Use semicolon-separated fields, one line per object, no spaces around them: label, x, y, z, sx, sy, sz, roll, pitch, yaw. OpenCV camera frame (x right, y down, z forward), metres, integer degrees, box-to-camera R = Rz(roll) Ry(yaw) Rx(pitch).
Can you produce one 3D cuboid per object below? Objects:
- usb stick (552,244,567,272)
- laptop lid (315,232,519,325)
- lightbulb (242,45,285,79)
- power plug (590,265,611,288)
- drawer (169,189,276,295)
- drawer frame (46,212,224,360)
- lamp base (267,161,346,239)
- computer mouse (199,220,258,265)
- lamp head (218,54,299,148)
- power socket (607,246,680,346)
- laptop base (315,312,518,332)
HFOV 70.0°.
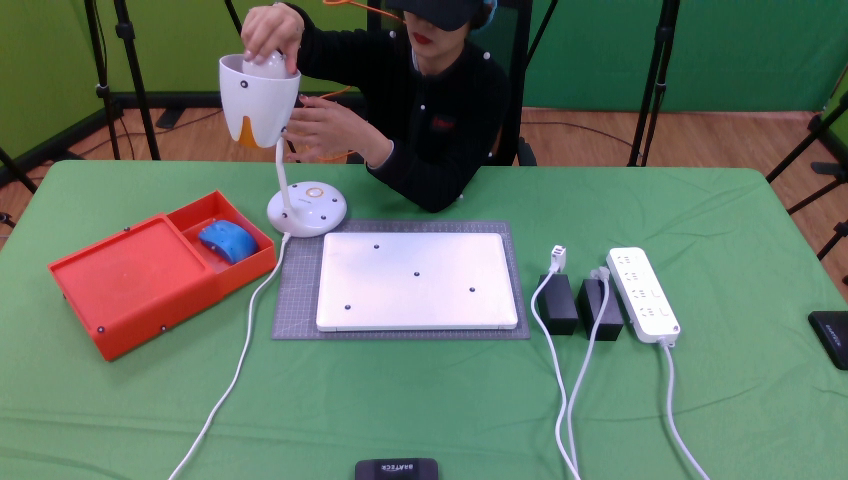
usb stick;0.251;0.039;1.123;0.021;0.059;0.027;14;47;24
laptop lid;-0.015;0.065;1.118;0.357;0.013;0.240;1;43;-3
lightbulb;-0.234;-0.223;0.867;0.059;0.108;0.059;14;25;-7
power plug;0.318;0.073;1.108;0.035;0.053;0.072;26;33;13
drawer;-0.413;0.022;1.108;0.212;0.073;0.193;-33;57;-30
drawer frame;-0.495;0.071;1.050;0.213;0.083;0.200;-32;56;-29
lamp base;-0.241;-0.110;1.174;0.160;0.181;0.178;11;49;9
computer mouse;-0.374;-0.001;1.153;0.116;0.041;0.063;30;52;28
lamp head;-0.244;-0.200;0.888;0.112;0.123;0.112;10;34;-7
power socket;0.403;0.096;1.123;0.072;0.033;0.225;-3;46;-5
laptop base;-0.016;0.075;1.125;0.355;0.023;0.234;0;42;-4
